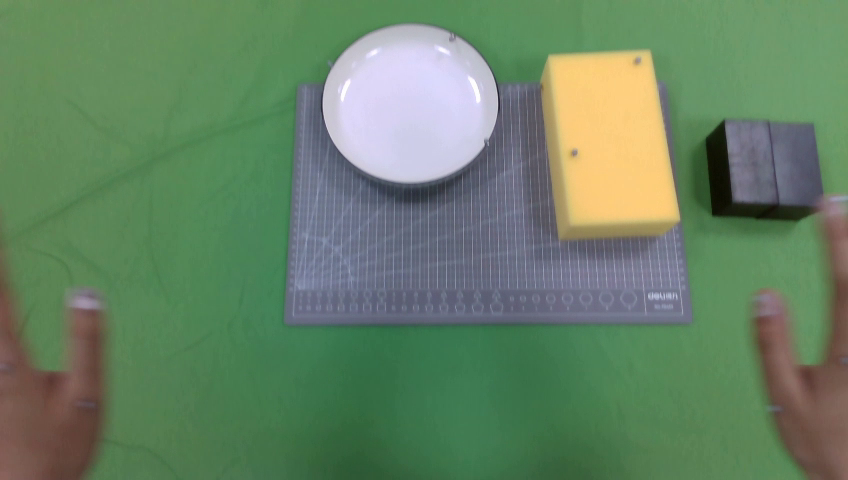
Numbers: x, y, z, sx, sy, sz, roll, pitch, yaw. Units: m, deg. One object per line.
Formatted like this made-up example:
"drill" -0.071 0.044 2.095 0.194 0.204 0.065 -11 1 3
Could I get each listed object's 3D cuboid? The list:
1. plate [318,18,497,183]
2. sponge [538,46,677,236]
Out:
"plate" -0.018 -0.161 0.714 0.209 0.038 0.208 0 75 0
"sponge" 0.203 -0.112 0.689 0.118 0.061 0.205 -4 75 -1
